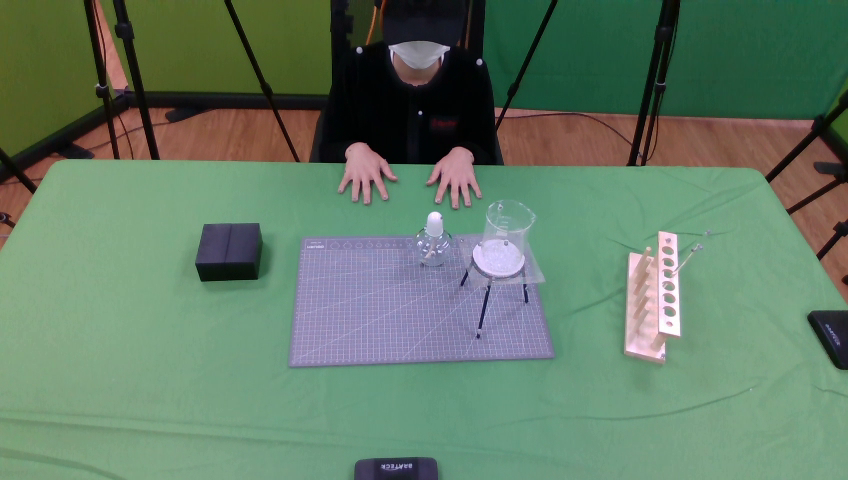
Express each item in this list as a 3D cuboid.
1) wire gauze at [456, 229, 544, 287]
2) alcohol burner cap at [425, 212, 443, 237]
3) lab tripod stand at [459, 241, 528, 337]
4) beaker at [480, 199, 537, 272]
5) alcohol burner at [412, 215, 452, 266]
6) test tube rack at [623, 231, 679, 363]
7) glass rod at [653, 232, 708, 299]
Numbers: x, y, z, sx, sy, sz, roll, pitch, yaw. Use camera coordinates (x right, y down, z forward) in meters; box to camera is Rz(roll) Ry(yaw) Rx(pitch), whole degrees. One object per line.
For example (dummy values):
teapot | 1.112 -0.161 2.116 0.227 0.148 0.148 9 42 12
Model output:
wire gauze | 0.125 0.030 1.008 0.125 0.011 0.120 -3 48 -11
alcohol burner cap | 0.019 -0.032 1.114 0.034 0.048 0.033 0 48 0
lab tripod stand | 0.122 0.075 1.054 0.148 0.132 0.147 3 44 -2
beaker | 0.132 -0.004 0.973 0.084 0.101 0.073 -4 47 -9
alcohol burner | 0.017 -0.006 1.139 0.078 0.119 0.077 2 48 -2
test tube rack | 0.410 0.094 1.096 0.066 0.085 0.241 13 46 9
glass rod | 0.441 0.049 1.050 0.008 0.200 0.008 4 52 -5
